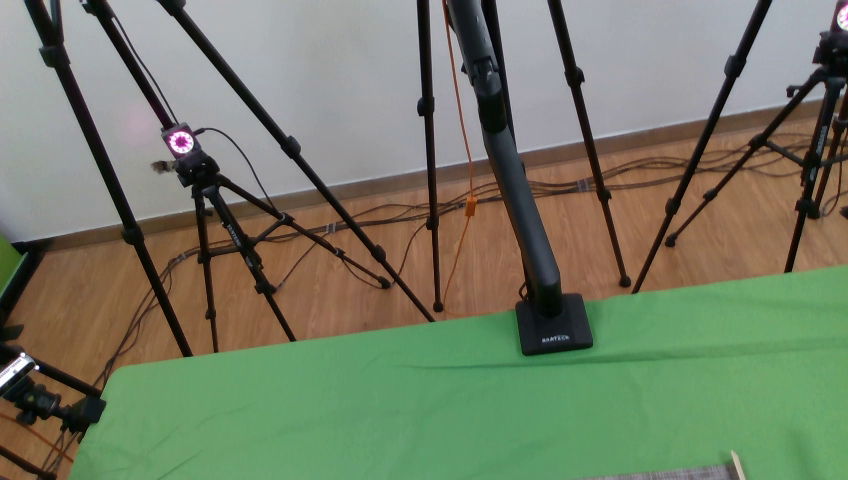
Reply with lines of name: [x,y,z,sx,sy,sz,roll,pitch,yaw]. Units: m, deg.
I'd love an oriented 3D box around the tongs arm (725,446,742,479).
tongs arm: [0.429,0.421,0.702,0.028,0.028,0.383,-29,39,23]

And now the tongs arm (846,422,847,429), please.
tongs arm: [0.490,0.390,0.657,0.050,0.027,0.381,-22,44,36]
